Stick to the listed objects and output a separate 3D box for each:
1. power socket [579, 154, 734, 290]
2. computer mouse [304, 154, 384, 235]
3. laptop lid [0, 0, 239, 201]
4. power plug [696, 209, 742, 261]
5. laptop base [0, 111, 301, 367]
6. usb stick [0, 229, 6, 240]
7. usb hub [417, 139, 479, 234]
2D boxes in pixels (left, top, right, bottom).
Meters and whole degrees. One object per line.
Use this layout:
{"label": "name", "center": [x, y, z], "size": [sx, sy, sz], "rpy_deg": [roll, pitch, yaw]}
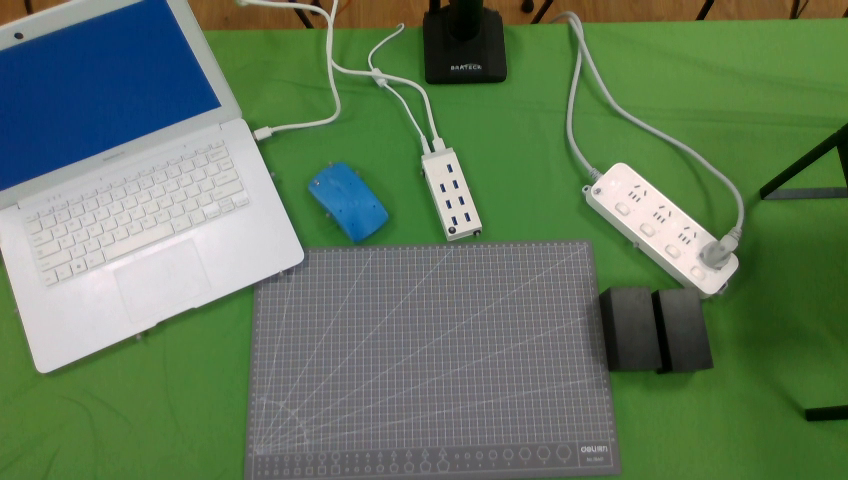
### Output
{"label": "power socket", "center": [0.312, -0.025, 0.813], "size": [0.225, 0.033, 0.072], "rpy_deg": [44, 76, 11]}
{"label": "computer mouse", "center": [-0.108, -0.064, 0.812], "size": [0.063, 0.041, 0.116], "rpy_deg": [-38, 73, -10]}
{"label": "laptop lid", "center": [-0.428, -0.174, 0.728], "size": [0.357, 0.244, 0.013], "rpy_deg": [-25, 60, -7]}
{"label": "power plug", "center": [0.387, -0.001, 0.788], "size": [0.072, 0.053, 0.035], "rpy_deg": [-32, 75, -13]}
{"label": "laptop base", "center": [-0.366, -0.011, 0.799], "size": [0.354, 0.023, 0.234], "rpy_deg": [-24, 78, -8]}
{"label": "usb stick", "center": [-0.571, 0.000, 0.777], "size": [0.059, 0.027, 0.021], "rpy_deg": [-24, 78, -13]}
{"label": "usb hub", "center": [0.031, -0.073, 0.825], "size": [0.049, 0.025, 0.124], "rpy_deg": [-17, 74, -6]}
